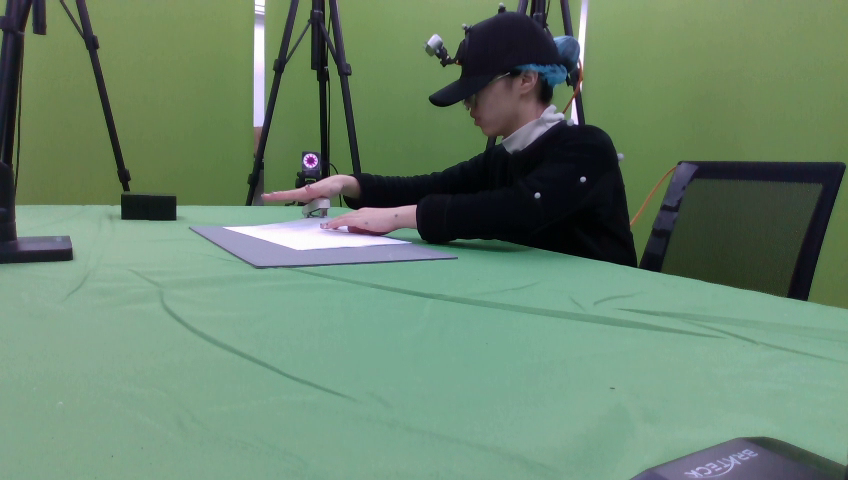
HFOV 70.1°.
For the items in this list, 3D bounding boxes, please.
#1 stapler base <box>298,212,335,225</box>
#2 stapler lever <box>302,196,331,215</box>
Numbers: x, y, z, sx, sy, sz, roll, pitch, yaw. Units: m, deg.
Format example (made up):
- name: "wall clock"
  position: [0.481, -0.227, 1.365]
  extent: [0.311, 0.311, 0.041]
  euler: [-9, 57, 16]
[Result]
- name: "stapler base"
  position: [-0.226, -0.047, 1.266]
  extent: [0.041, 0.024, 0.130]
  euler: [2, 2, -30]
- name: "stapler lever"
  position: [-0.226, -0.072, 1.265]
  extent: [0.027, 0.040, 0.117]
  euler: [2, 2, -30]
